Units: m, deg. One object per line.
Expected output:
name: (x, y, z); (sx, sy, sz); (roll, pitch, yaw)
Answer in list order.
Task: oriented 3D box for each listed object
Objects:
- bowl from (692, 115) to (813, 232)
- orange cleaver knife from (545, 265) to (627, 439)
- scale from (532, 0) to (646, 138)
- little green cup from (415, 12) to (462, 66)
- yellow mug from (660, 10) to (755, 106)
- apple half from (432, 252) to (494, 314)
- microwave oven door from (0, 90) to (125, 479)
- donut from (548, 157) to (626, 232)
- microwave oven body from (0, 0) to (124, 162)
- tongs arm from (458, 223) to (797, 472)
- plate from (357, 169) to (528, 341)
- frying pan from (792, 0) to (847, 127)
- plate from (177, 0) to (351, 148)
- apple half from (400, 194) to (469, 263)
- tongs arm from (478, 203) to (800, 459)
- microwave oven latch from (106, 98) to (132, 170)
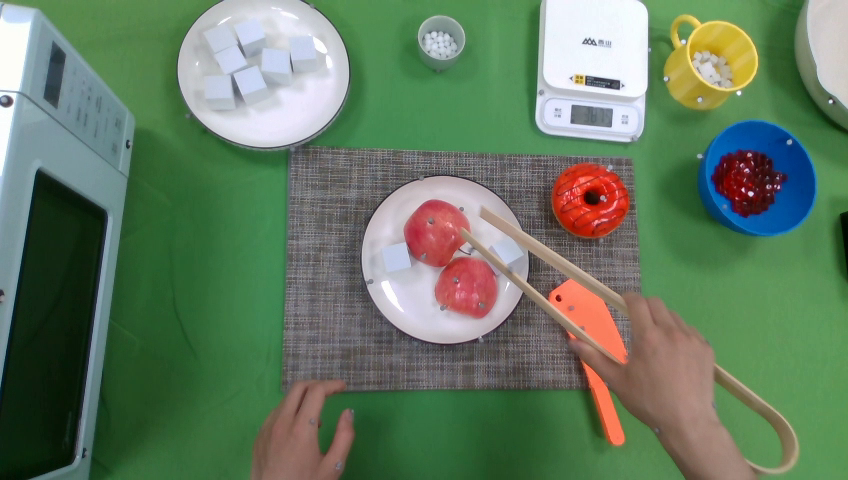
bowl: (0.410, -0.078, 0.788); (0.151, 0.077, 0.151); (1, 80, -6)
orange cleaver knife: (0.214, 0.137, 0.752); (0.077, 0.012, 0.210); (-17, 81, -14)
scale: (0.223, -0.241, 0.817); (0.149, 0.031, 0.200); (5, 80, -5)
little green cup: (0.017, -0.260, 0.792); (0.061, 0.039, 0.061); (1, 79, -6)
yellow mug: (0.373, -0.253, 0.820); (0.100, 0.064, 0.130); (-32, 84, -10)
apple half: (0.050, 0.049, 0.732); (0.081, 0.033, 0.081); (1, 81, -3)
microwave oven door: (-0.360, 0.073, 0.565); (0.039, 0.244, 0.354); (3, 79, -6)
donut: (0.207, -0.058, 0.773); (0.099, 0.048, 0.098); (1, 80, -5)
microwave oven body: (-0.504, 0.023, 0.561); (0.327, 0.260, 0.440); (3, 80, -7)
tongs arm: (0.189, 0.095, 0.612); (0.050, 0.027, 0.382); (-41, 71, -19)
plate: (0.022, 0.019, 0.740); (0.209, 0.038, 0.208); (1, 80, -7)
frying pan: (0.698, -0.185, 0.828); (0.307, 0.103, 0.485); (-26, 76, -10)
plate: (-0.196, -0.211, 0.758); (0.208, 0.039, 0.207); (1, 80, -7)
apple half: (0.014, -0.018, 0.730); (0.081, 0.053, 0.074); (-43, 84, -12)
tongs arm: (0.204, 0.080, 0.619); (0.385, 0.028, 0.028); (38, 66, 17)
microwave oven latch: (-0.360, -0.124, 0.703); (0.030, 0.029, 0.079); (5, 80, -6)
